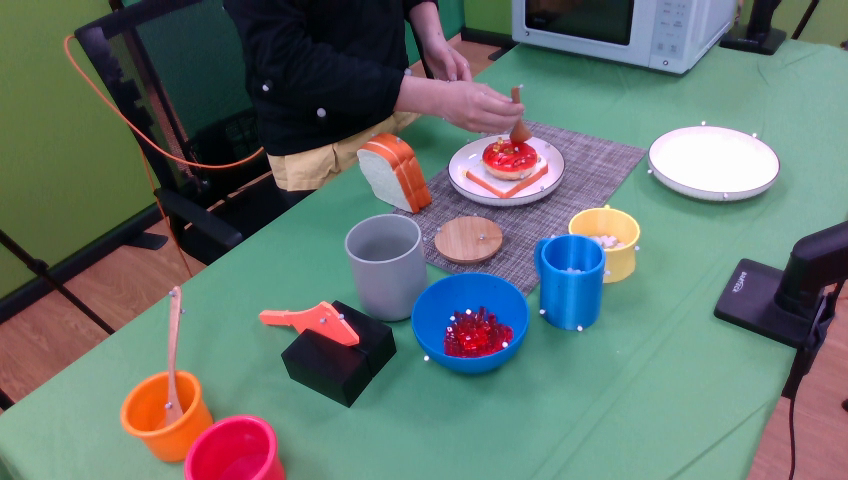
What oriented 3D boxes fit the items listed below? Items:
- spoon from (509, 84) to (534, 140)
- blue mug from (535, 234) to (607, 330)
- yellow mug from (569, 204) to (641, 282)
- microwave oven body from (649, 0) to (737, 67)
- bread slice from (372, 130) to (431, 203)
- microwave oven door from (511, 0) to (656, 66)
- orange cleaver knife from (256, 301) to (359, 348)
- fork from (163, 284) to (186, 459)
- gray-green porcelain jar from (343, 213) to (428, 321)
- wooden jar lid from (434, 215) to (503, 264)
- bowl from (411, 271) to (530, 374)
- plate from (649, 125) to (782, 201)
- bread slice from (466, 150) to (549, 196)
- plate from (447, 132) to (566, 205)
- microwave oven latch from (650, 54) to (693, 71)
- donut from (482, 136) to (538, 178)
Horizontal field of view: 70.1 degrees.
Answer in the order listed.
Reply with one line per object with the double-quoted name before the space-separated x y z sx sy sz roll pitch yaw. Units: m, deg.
"spoon" 0.152 -0.203 0.975 0.041 0.195 0.021 -1 73 13
"blue mug" 0.191 0.048 0.824 0.082 0.106 0.115 -26 44 -20
"yellow mug" 0.268 -0.005 0.904 0.099 0.064 0.130 7 42 15
"microwave oven body" 0.475 -0.602 1.411 0.438 0.261 0.327 23 50 32
"bread slice" -0.042 -0.127 1.038 0.106 0.135 0.018 29 62 33
"microwave oven door" 0.351 -0.540 1.349 0.353 0.245 0.039 24 50 31
"orange cleaver knife" -0.160 0.115 0.813 0.210 0.077 0.012 -9 29 48
"fork" -0.302 0.157 0.733 0.028 0.019 0.207 -3 84 16
"gray-green porcelain jar" -0.049 0.042 0.849 0.106 0.127 0.105 -4 41 4
"wooden jar lid" 0.070 0.001 0.956 0.108 0.021 0.108 -4 40 4
"bowl" 0.062 0.120 0.780 0.151 0.077 0.150 -4 40 4
"plate" 0.493 -0.127 1.036 0.207 0.039 0.206 -4 41 4
"bread slice" 0.156 -0.130 1.084 0.132 0.019 0.104 -32 48 -24
"plate" 0.146 -0.124 1.076 0.209 0.038 0.208 -4 41 4
"microwave oven latch" 0.531 -0.386 1.301 0.078 0.029 0.030 26 51 33
"donut" 0.149 -0.146 1.056 0.099 0.048 0.098 1 39 -1
